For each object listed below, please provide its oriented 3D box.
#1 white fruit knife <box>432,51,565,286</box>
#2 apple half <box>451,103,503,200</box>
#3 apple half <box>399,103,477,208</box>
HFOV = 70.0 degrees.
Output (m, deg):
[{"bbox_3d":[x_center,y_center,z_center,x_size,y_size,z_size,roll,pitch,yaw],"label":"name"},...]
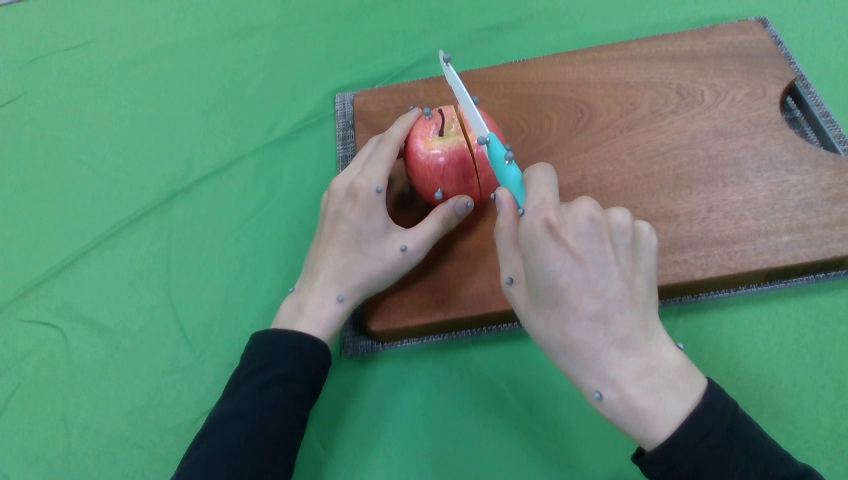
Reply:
[{"bbox_3d":[0.043,-0.061,0.413,0.016,0.027,0.205,-16,60,-16],"label":"white fruit knife"},{"bbox_3d":[0.047,-0.073,0.488,0.033,0.082,0.080,-16,56,0],"label":"apple half"},{"bbox_3d":[0.008,-0.062,0.488,0.053,0.075,0.080,-18,59,2],"label":"apple half"}]
